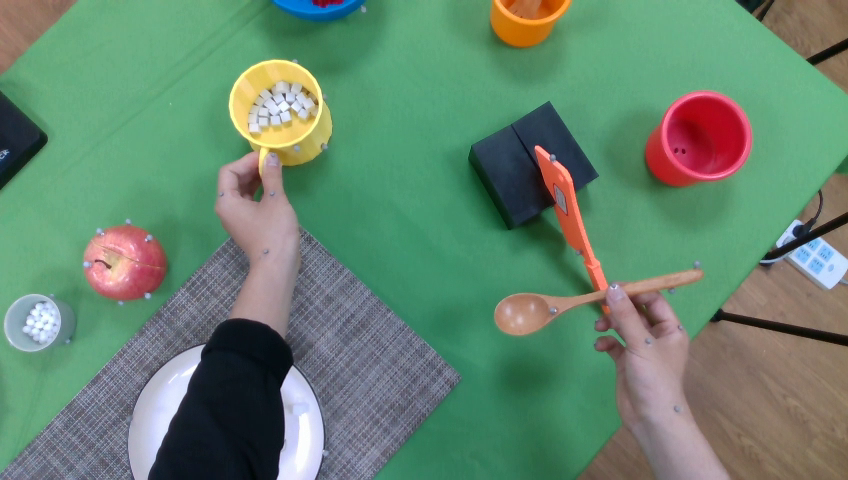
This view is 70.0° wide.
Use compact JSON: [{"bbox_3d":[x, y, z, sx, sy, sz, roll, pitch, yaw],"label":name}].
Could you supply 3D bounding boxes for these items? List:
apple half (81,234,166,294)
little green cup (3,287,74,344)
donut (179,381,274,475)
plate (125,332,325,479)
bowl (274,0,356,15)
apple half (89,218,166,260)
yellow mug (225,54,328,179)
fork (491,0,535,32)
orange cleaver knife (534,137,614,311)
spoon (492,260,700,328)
[{"bbox_3d":[-0.327,0.031,0.654,0.081,0.074,0.053,23,89,-2],"label":"apple half"},{"bbox_3d":[-0.420,0.083,0.664,0.061,0.039,0.061,0,84,0],"label":"little green cup"},{"bbox_3d":[-0.208,0.199,0.641,0.099,0.048,0.099,0,87,-2],"label":"donut"},{"bbox_3d":[-0.210,0.202,0.652,0.209,0.038,0.208,0,85,-1],"label":"plate"},{"bbox_3d":[-0.121,-0.317,0.688,0.151,0.077,0.151,0,85,-1],"label":"bowl"},{"bbox_3d":[-0.313,-0.005,0.656,0.081,0.081,0.033,22,88,2],"label":"apple half"},{"bbox_3d":[-0.165,-0.131,0.672,0.100,0.064,0.130,11,82,1],"label":"yellow mug"},{"bbox_3d":[0.148,-0.308,0.654,0.028,0.018,0.207,53,129,6],"label":"fork"},{"bbox_3d":[0.162,-0.014,0.657,0.012,0.076,0.213,-28,117,-2],"label":"orange cleaver knife"},{"bbox_3d":[0.158,0.047,0.570,0.193,0.022,0.041,-15,72,18],"label":"spoon"}]
